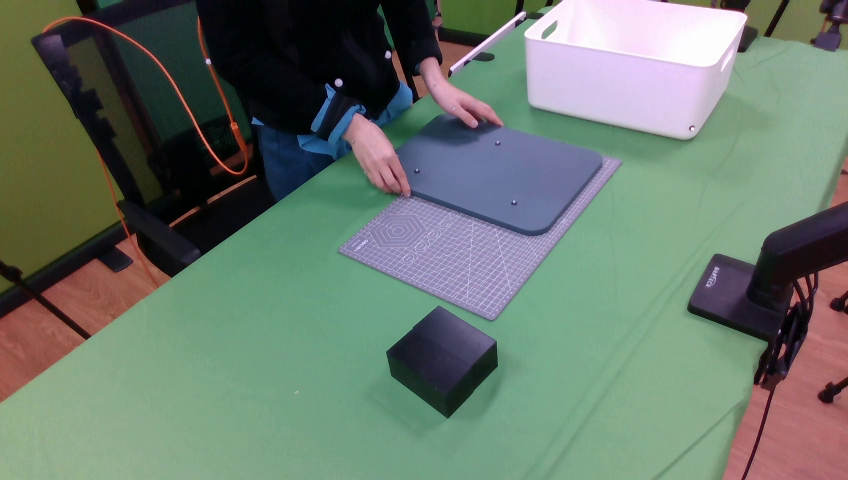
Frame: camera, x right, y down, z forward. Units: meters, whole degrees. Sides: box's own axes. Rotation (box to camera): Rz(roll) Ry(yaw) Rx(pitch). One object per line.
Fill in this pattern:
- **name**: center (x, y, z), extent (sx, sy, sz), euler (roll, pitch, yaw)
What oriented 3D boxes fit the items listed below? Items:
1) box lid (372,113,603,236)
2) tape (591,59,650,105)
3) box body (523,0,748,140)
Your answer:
- **box lid**: center (0.115, -0.134, 1.111), extent (0.368, 0.015, 0.264), euler (22, 49, 29)
- **tape**: center (0.407, -0.330, 1.259), extent (0.117, 0.053, 0.116), euler (-2, 40, 2)
- **box body**: center (0.412, -0.354, 1.212), extent (0.361, 0.161, 0.254), euler (20, 48, 29)
